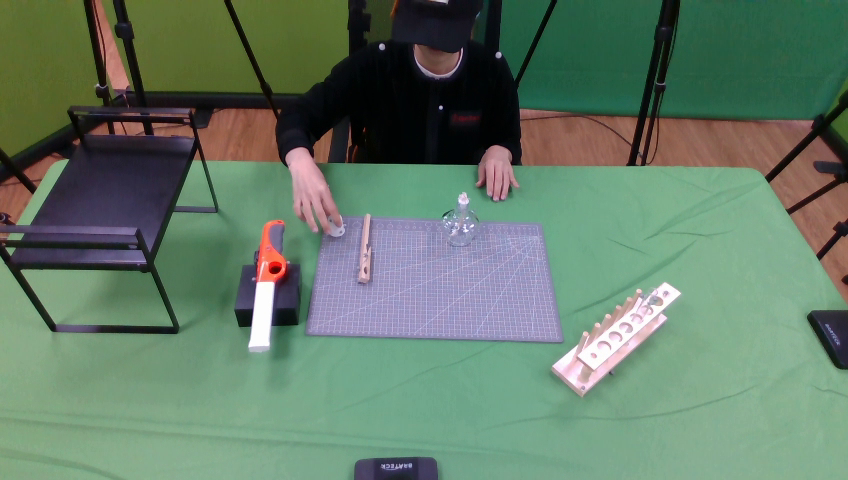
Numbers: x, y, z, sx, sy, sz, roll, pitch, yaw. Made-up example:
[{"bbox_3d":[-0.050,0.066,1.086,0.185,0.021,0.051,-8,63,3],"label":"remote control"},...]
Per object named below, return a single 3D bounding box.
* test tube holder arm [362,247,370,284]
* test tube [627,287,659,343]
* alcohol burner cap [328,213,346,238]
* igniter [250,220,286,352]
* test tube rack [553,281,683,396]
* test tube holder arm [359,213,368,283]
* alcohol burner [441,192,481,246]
[{"bbox_3d":[-0.110,0.046,1.144,0.010,0.015,0.087,29,36,-28],"label":"test tube holder arm"},{"bbox_3d":[0.351,0.125,0.983,0.017,0.151,0.017,1,50,-1],"label":"test tube"},{"bbox_3d":[-0.172,-0.031,1.188,0.034,0.048,0.033,0,48,0],"label":"alcohol burner cap"},{"bbox_3d":[-0.269,0.068,1.042,0.057,0.025,0.274,0,48,-7],"label":"igniter"},{"bbox_3d":[0.329,0.153,1.022,0.242,0.085,0.066,-30,54,-28],"label":"test tube rack"},{"bbox_3d":[-0.117,0.011,1.172,0.013,0.015,0.177,28,37,-30],"label":"test tube holder arm"},{"bbox_3d":[0.073,-0.046,1.176,0.078,0.119,0.077,2,44,-2],"label":"alcohol burner"}]
